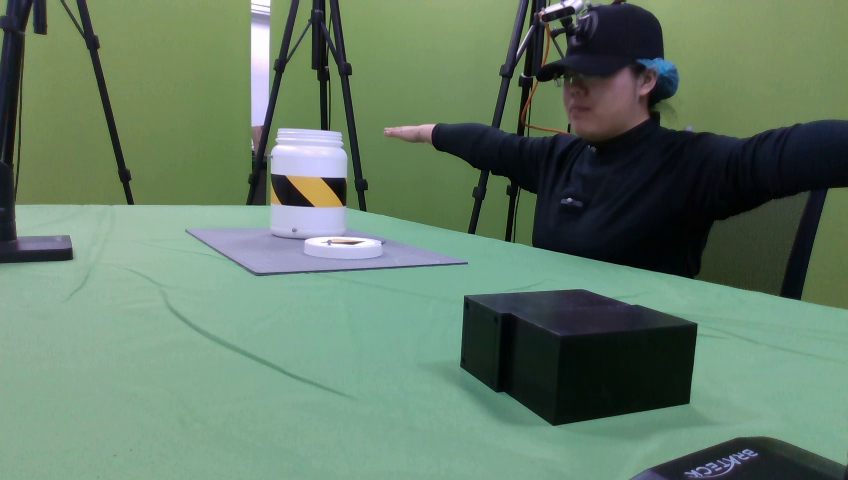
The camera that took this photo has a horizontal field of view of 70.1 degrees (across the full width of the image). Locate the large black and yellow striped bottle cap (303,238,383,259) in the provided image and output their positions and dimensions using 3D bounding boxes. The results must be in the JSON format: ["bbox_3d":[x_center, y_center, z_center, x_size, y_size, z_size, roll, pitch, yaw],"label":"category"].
[{"bbox_3d":[-0.117,0.011,0.880,0.115,0.019,0.115,2,6,0],"label":"large black and yellow striped bottle cap"}]

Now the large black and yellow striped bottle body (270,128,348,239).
[{"bbox_3d":[-0.200,-0.099,1.053,0.131,0.184,0.130,3,8,0],"label":"large black and yellow striped bottle body"}]
